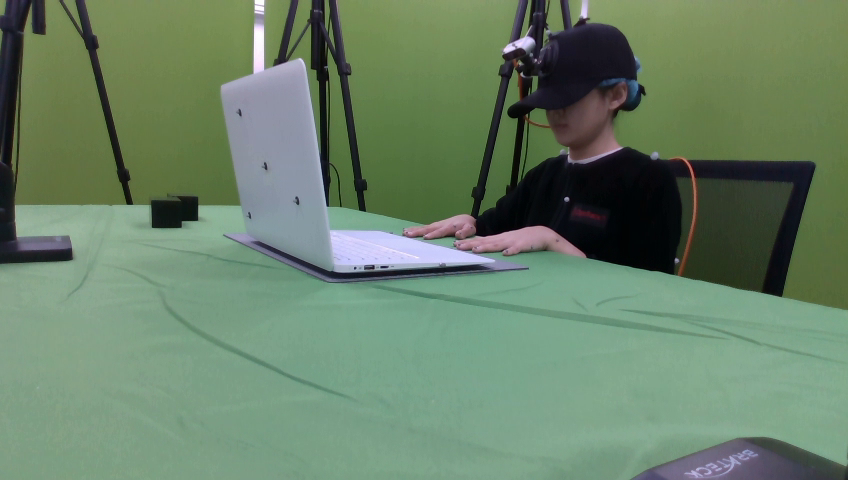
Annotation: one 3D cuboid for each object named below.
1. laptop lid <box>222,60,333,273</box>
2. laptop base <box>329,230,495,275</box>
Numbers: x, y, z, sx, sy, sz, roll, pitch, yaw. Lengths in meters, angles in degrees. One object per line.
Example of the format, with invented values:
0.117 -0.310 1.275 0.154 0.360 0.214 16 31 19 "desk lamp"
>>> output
-0.205 -0.098 0.795 0.013 0.241 0.355 -13 16 -30 "laptop lid"
-0.093 0.015 0.883 0.237 0.023 0.352 3 6 -33 "laptop base"
